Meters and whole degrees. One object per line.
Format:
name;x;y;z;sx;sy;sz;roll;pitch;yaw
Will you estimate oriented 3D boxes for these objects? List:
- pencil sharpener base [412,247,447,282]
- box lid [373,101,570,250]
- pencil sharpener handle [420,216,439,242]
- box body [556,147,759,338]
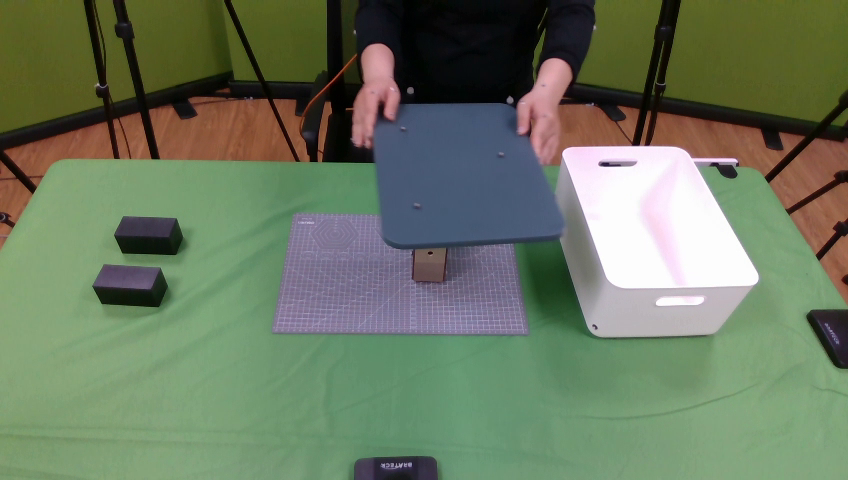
pencil sharpener base;0.009;0.017;1.117;0.061;0.107;0.076;1;45;-2
box lid;0.058;-0.116;0.949;0.263;0.015;0.369;-4;43;-6
pencil sharpener handle;0.008;-0.028;1.145;0.036;0.068;0.030;5;45;-5
box body;0.400;-0.001;1.131;0.254;0.161;0.361;-1;46;-5
